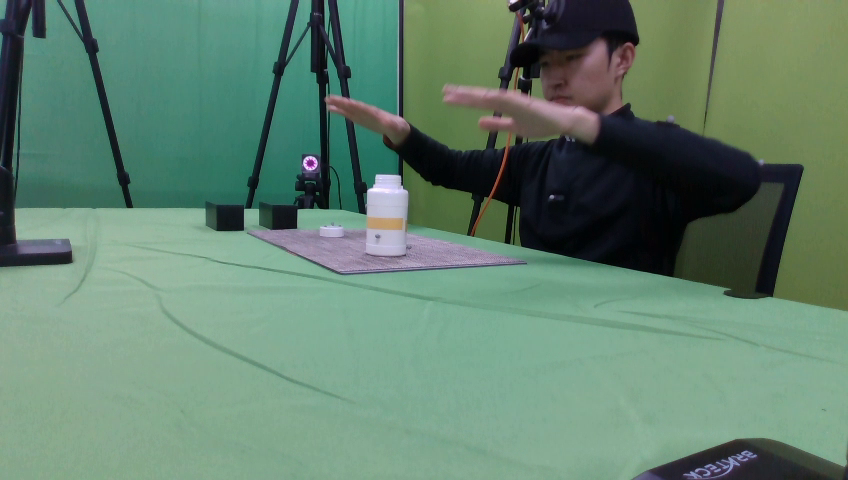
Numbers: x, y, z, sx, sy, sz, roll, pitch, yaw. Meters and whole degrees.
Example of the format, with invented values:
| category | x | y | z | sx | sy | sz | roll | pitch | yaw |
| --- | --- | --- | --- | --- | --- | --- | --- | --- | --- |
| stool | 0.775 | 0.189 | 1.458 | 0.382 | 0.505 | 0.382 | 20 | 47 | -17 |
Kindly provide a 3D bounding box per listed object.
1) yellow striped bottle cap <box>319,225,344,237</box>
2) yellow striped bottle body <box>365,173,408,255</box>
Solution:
| category | x | y | z | sx | sy | sz | roll | pitch | yaw |
| --- | --- | --- | --- | --- | --- | --- | --- | --- | --- |
| yellow striped bottle cap | -0.169 | -0.017 | 1.107 | 0.044 | 0.018 | 0.044 | 0 | 5 | 0 |
| yellow striped bottle body | -0.055 | -0.040 | 0.905 | 0.063 | 0.120 | 0.063 | 2 | 7 | 0 |
